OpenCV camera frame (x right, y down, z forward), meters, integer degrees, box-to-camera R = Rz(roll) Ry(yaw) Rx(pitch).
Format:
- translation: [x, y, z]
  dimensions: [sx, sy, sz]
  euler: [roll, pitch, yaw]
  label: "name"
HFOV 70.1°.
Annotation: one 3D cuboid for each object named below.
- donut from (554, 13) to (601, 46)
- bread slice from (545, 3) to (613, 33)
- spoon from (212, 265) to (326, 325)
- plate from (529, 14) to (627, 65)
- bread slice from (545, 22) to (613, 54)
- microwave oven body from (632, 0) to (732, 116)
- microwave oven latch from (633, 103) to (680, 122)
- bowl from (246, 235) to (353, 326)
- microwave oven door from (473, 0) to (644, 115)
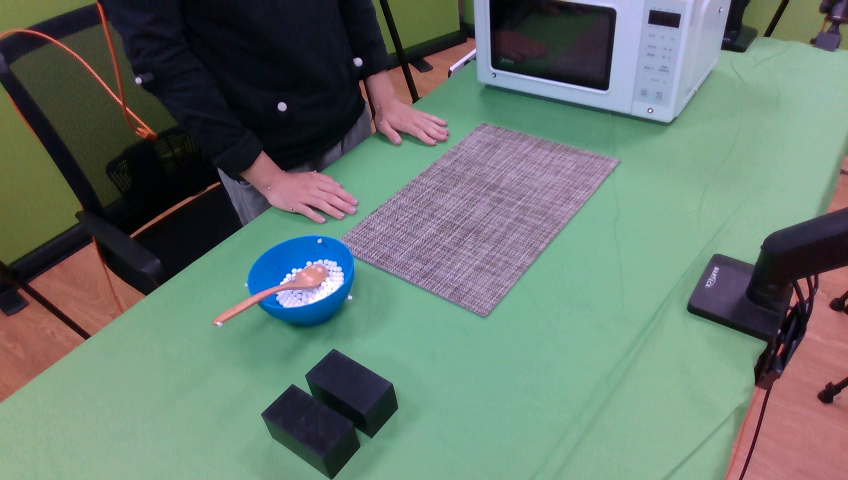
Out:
- translation: [0.328, -0.452, 1.296]
  dimensions: [0.099, 0.048, 0.098]
  euler: [-5, 46, 6]
  label: "donut"
- translation: [0.330, -0.474, 1.281]
  dimensions: [0.131, 0.019, 0.104]
  euler: [-10, 38, 0]
  label: "bread slice"
- translation: [-0.208, 0.072, 0.822]
  dimensions: [0.041, 0.021, 0.195]
  euler: [26, 29, 27]
  label: "spoon"
- translation: [0.332, -0.433, 1.317]
  dimensions: [0.207, 0.039, 0.206]
  euler: [-5, 42, 5]
  label: "plate"
- translation: [0.340, -0.440, 1.311]
  dimensions: [0.135, 0.018, 0.106]
  euler: [-11, 48, -9]
  label: "bread slice"
- translation: [0.377, -0.462, 1.267]
  dimensions: [0.438, 0.261, 0.327]
  euler: [21, 48, 30]
  label: "microwave oven body"
- translation: [0.444, -0.249, 1.157]
  dimensions: [0.078, 0.029, 0.030]
  euler: [21, 48, 30]
  label: "microwave oven latch"
- translation: [-0.170, 0.070, 0.868]
  dimensions: [0.151, 0.077, 0.150]
  euler: [-4, 41, 4]
  label: "bowl"
- translation: [0.257, -0.396, 1.199]
  dimensions: [0.353, 0.245, 0.039]
  euler: [21, 48, 29]
  label: "microwave oven door"
